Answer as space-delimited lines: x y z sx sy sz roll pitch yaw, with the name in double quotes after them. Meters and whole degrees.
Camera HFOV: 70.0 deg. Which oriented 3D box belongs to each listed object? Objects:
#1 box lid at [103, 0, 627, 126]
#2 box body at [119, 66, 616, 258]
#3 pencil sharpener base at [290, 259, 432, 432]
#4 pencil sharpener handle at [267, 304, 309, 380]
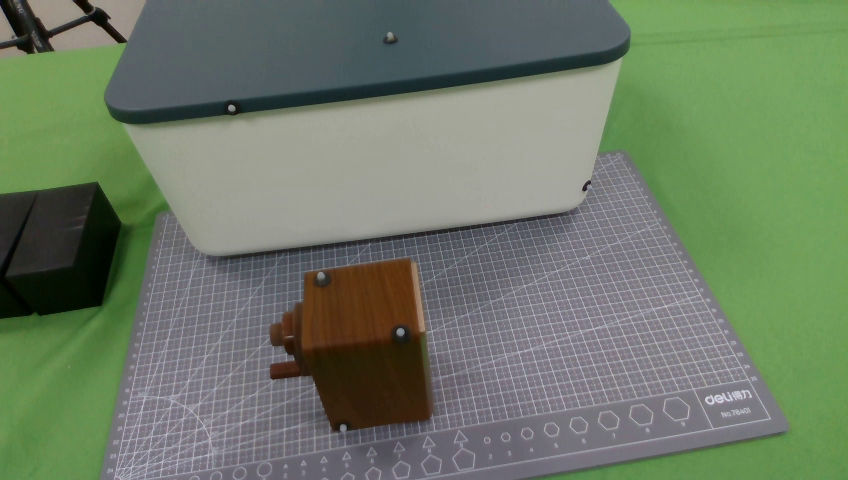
-0.051 -0.188 0.495 0.372 0.015 0.260 -7 45 -3 "box lid"
-0.044 -0.136 0.549 0.364 0.162 0.251 -7 46 -3 "box body"
-0.038 0.071 0.389 0.077 0.108 0.060 -7 47 -2 "pencil sharpener base"
-0.089 0.068 0.379 0.030 0.068 0.035 -7 50 -2 "pencil sharpener handle"
